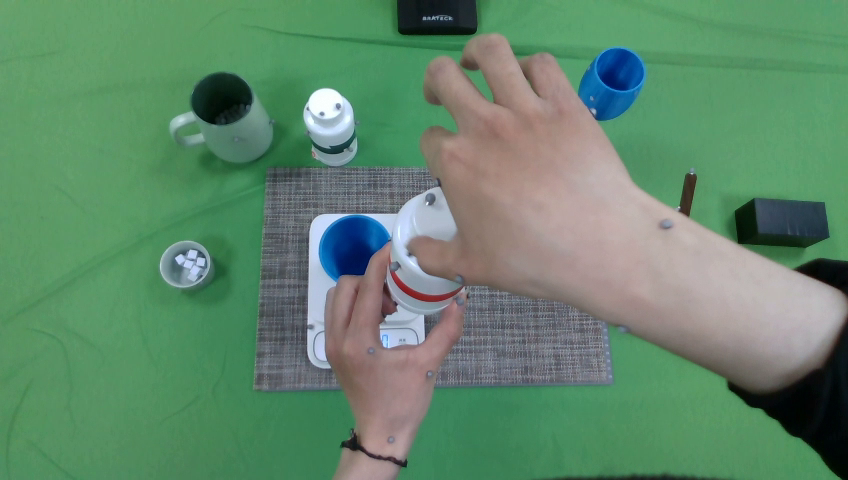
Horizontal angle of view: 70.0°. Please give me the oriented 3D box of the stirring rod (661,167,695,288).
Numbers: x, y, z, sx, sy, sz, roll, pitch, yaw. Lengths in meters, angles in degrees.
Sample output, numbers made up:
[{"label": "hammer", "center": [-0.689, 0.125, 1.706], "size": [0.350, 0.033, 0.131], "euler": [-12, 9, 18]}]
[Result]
[{"label": "stirring rod", "center": [0.322, -0.011, 0.770], "size": [0.014, 0.177, 0.006], "euler": [4, 33, 11]}]

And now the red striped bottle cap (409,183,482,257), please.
[{"label": "red striped bottle cap", "center": [0.013, -0.013, 0.373], "size": [0.044, 0.018, 0.044], "euler": [2, 68, -5]}]

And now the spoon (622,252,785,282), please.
[{"label": "spoon", "center": [0.342, 0.039, 0.757], "size": [0.022, 0.192, 0.041], "euler": [22, 77, -42]}]

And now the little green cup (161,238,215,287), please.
[{"label": "little green cup", "center": [-0.300, 0.032, 0.778], "size": [0.061, 0.039, 0.061], "euler": [1, 74, -4]}]

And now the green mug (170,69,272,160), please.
[{"label": "green mug", "center": [-0.270, -0.158, 0.799], "size": [0.125, 0.105, 0.092], "euler": [-22, 77, -9]}]

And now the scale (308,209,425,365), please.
[{"label": "scale", "center": [-0.075, 0.057, 0.784], "size": [0.149, 0.032, 0.199], "euler": [-1, 75, -3]}]

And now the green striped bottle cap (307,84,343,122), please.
[{"label": "green striped bottle cap", "center": [-0.123, -0.169, 0.749], "size": [0.044, 0.020, 0.044], "euler": [1, 73, -3]}]

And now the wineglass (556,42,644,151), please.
[{"label": "wineglass", "center": [0.227, -0.183, 0.800], "size": [0.074, 0.173, 0.073], "euler": [1, 74, -2]}]

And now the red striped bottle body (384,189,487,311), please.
[{"label": "red striped bottle body", "center": [0.006, 0.006, 0.423], "size": [0.063, 0.120, 0.062], "euler": [3, 69, -7]}]

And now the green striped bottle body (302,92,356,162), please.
[{"label": "green striped bottle body", "center": [-0.124, -0.154, 0.799], "size": [0.063, 0.120, 0.063], "euler": [1, 73, -3]}]

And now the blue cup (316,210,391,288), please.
[{"label": "blue cup", "center": [-0.080, 0.019, 0.727], "size": [0.093, 0.100, 0.092], "euler": [1, 76, -3]}]
